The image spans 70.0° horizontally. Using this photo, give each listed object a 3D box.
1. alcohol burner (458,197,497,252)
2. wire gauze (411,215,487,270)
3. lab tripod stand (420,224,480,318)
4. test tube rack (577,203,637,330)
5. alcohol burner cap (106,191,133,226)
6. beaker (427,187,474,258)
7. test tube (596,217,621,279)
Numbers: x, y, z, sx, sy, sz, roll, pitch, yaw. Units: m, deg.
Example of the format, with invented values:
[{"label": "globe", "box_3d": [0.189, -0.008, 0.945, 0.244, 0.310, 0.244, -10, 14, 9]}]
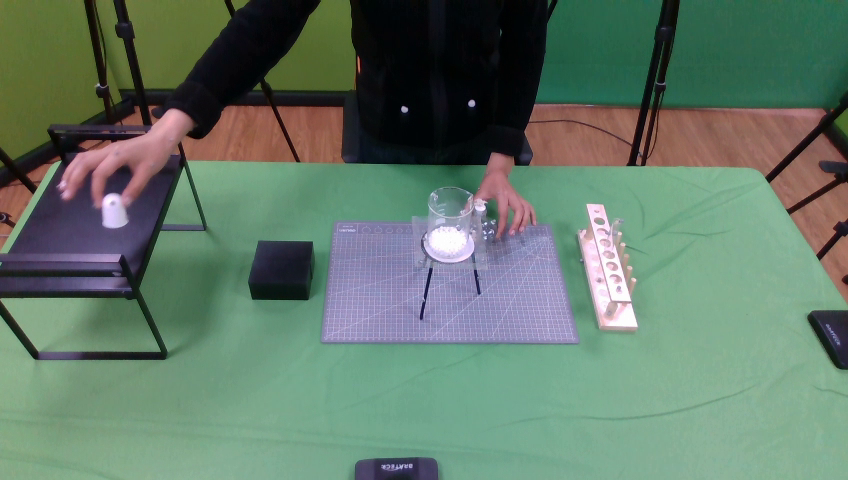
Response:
[{"label": "alcohol burner", "box_3d": [0.105, -0.035, 1.173, 0.078, 0.120, 0.077, 1, 46, -1]}, {"label": "wire gauze", "box_3d": [0.041, 0.003, 1.026, 0.125, 0.011, 0.120, 0, 46, -2]}, {"label": "lab tripod stand", "box_3d": [0.034, 0.051, 1.071, 0.148, 0.132, 0.147, 3, 48, -3]}, {"label": "test tube rack", "box_3d": [0.348, 0.045, 1.139, 0.067, 0.085, 0.241, 2, 46, -2]}, {"label": "alcohol burner cap", "box_3d": [-0.431, -0.046, 0.856, 0.034, 0.048, 0.033, 9, 33, -6]}, {"label": "beaker", "box_3d": [0.043, -0.027, 0.989, 0.084, 0.101, 0.073, -26, 53, -26]}, {"label": "test tube", "box_3d": [0.332, 0.018, 1.094, 0.017, 0.151, 0.017, 0, 45, 0]}]
